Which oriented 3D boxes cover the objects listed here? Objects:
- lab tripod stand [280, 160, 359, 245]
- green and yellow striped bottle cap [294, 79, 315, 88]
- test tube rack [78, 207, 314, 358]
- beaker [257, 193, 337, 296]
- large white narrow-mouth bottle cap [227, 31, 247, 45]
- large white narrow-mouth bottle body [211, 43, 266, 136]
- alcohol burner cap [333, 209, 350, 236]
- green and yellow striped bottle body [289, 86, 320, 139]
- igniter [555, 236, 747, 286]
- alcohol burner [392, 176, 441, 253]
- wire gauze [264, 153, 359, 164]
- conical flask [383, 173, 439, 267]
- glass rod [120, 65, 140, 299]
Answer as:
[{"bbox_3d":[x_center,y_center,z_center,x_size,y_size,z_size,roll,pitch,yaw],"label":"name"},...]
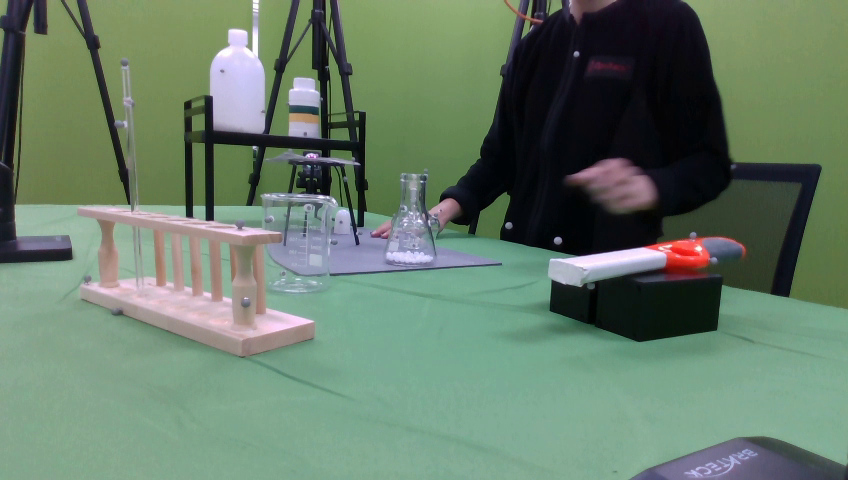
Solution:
[{"bbox_3d":[-0.176,-0.062,0.973,0.148,0.131,0.148,1,7,0],"label":"lab tripod stand"},{"bbox_3d":[-0.248,-0.323,1.256,0.045,0.020,0.045,3,9,0],"label":"green and yellow striped bottle cap"},{"bbox_3d":[-0.196,0.024,0.500,0.241,0.085,0.067,8,8,37],"label":"test tube rack"},{"bbox_3d":[-0.130,0.004,0.628,0.084,0.100,0.074,5,8,15],"label":"beaker"},{"bbox_3d":[-0.361,-0.388,1.165,0.038,0.024,0.037,1,7,0],"label":"large white narrow-mouth bottle cap"},{"bbox_3d":[-0.361,-0.302,1.176,0.102,0.194,0.102,1,7,0],"label":"large white narrow-mouth bottle body"},{"bbox_3d":[-0.151,-0.033,1.116,0.034,0.048,0.034,4,7,0],"label":"alcohol burner cap"},{"bbox_3d":[-0.250,-0.272,1.261,0.063,0.119,0.063,3,7,0],"label":"green and yellow striped bottle body"},{"bbox_3d":[0.221,0.017,0.558,0.278,0.025,0.057,-5,15,-39],"label":"igniter"},{"bbox_3d":[-0.012,-0.041,0.944,0.078,0.119,0.078,0,7,0],"label":"alcohol burner"},{"bbox_3d":[-0.181,-0.130,0.969,0.126,0.011,0.121,-1,6,-27],"label":"wire gauze"},{"bbox_3d":[-0.016,-0.028,0.808,0.075,0.122,0.075,2,8,0],"label":"conical flask"},{"bbox_3d":[-0.249,-0.047,0.513,0.008,0.199,0.008,-1,4,0],"label":"glass rod"}]
